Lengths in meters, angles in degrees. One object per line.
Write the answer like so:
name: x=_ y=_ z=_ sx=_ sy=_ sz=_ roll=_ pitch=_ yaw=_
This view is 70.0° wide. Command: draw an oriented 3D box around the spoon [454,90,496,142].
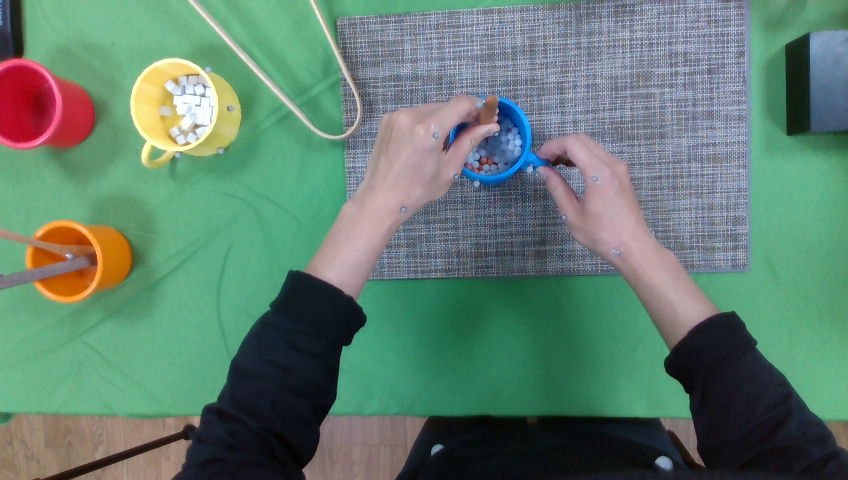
spoon: x=0.053 y=-0.113 z=0.566 sx=0.041 sy=0.193 sz=0.021 roll=-10 pitch=93 yaw=0

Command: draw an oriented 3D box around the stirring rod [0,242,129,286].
stirring rod: x=-0.423 y=0.031 z=0.676 sx=0.176 sy=0.006 sz=0.014 roll=-19 pitch=88 yaw=-36

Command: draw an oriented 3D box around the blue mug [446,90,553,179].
blue mug: x=0.082 y=-0.100 z=0.638 sx=0.116 sy=0.106 sz=0.082 roll=25 pitch=96 yaw=2

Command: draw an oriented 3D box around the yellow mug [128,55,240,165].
yellow mug: x=-0.278 y=-0.139 z=0.687 sx=0.100 sy=0.064 sz=0.131 roll=36 pitch=98 yaw=1

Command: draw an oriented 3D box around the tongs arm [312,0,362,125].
tongs arm: x=-0.155 y=-0.308 z=0.661 sx=0.028 sy=0.027 sz=0.388 roll=-27 pitch=99 yaw=-2

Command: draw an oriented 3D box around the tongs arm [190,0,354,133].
tongs arm: x=-0.224 y=-0.260 z=0.667 sx=0.051 sy=0.026 sz=0.386 roll=-40 pitch=98 yaw=3

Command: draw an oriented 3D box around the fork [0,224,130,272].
fork: x=-0.434 y=-0.003 z=0.668 sx=0.209 sy=0.018 sz=0.028 roll=24 pitch=92 yaw=-41
